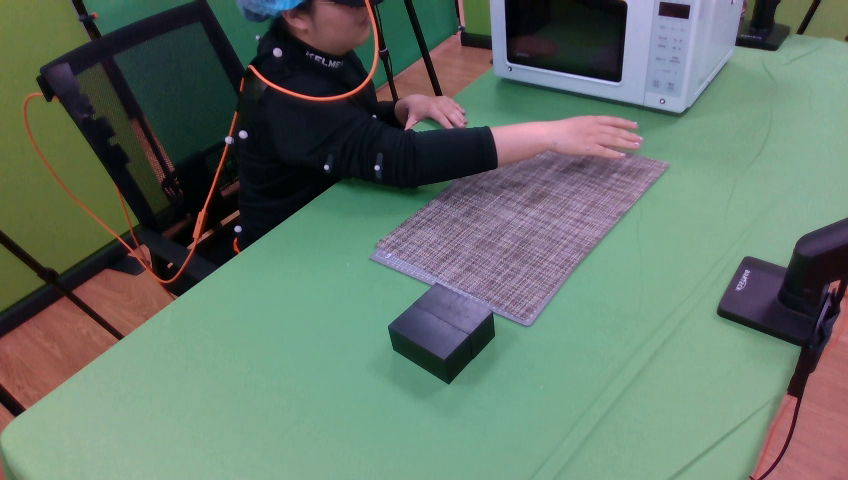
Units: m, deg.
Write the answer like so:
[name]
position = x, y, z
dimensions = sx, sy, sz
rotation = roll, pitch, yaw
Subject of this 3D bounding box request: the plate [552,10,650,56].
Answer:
[plate]
position = 0.391, -0.454, 1.339
dimensions = 0.209, 0.038, 0.208
rotation = -5, 39, 5

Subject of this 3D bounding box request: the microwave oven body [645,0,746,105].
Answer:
[microwave oven body]
position = 0.416, -0.486, 1.290
dimensions = 0.438, 0.261, 0.327
rotation = 21, 50, 33

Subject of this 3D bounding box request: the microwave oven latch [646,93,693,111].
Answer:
[microwave oven latch]
position = 0.477, -0.273, 1.177
dimensions = 0.078, 0.029, 0.030
rotation = 22, 50, 33

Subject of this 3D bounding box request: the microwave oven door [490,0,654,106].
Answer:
[microwave oven door]
position = 0.293, -0.420, 1.228
dimensions = 0.353, 0.245, 0.039
rotation = 22, 49, 32

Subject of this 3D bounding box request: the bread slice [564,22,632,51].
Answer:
[bread slice]
position = 0.394, -0.453, 1.344
dimensions = 0.105, 0.019, 0.130
rotation = -36, 42, -26
